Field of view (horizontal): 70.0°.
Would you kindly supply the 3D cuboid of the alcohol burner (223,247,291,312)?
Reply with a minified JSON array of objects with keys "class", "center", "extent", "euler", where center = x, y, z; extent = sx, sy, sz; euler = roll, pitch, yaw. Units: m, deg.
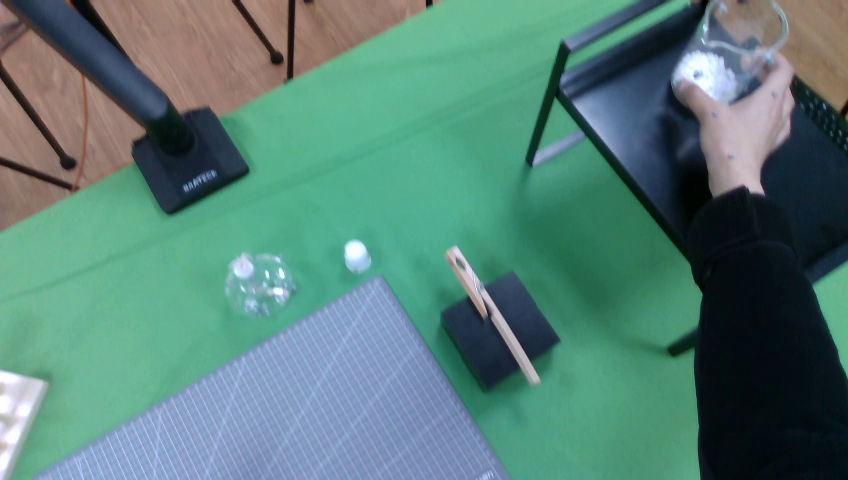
[{"class":"alcohol burner","center":[-0.195,0.040,0.693],"extent":[0.078,0.120,0.077],"euler":[0,68,-1]}]

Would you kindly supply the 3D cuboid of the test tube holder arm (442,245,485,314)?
[{"class":"test tube holder arm","center":[0.047,0.045,0.690],"extent":[0.010,0.015,0.087],"euler":[-27,73,-20]}]

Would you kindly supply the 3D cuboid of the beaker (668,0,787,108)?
[{"class":"beaker","center":[0.285,-0.181,0.587],"extent":[0.084,0.101,0.073],"euler":[-26,70,-9]}]

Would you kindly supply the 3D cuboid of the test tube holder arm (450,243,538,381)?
[{"class":"test tube holder arm","center":[0.075,0.079,0.680],"extent":[0.013,0.015,0.177],"euler":[-27,73,-20]}]

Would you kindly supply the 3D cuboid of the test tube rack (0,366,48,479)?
[{"class":"test tube rack","center":[-0.498,0.249,0.632],"extent":[0.066,0.086,0.241],"euler":[12,71,5]}]

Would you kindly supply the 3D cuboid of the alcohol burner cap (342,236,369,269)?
[{"class":"alcohol burner cap","center":[-0.086,0.013,0.742],"extent":[0.034,0.048,0.033],"euler":[0,69,0]}]
